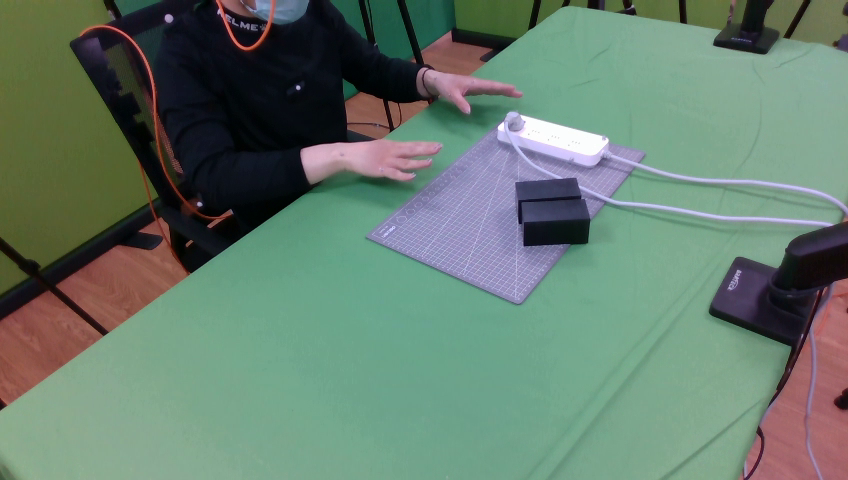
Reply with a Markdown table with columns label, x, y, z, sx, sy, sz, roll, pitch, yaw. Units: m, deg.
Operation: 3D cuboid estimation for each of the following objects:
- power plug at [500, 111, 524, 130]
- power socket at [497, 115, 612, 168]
| label | x | y | z | sx | sy | sz | roll | pitch | yaw |
| --- | --- | --- | --- | --- | --- | --- | --- | --- | --- |
| power plug | 0.160 | -0.217 | 1.149 | 0.073 | 0.053 | 0.035 | -33 | 47 | -26 |
| power socket | 0.240 | -0.191 | 1.143 | 0.225 | 0.033 | 0.072 | 23 | 50 | 30 |
